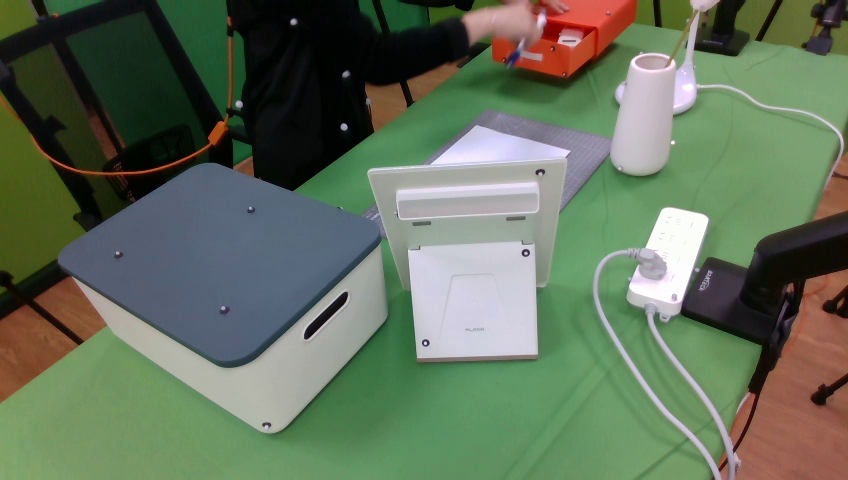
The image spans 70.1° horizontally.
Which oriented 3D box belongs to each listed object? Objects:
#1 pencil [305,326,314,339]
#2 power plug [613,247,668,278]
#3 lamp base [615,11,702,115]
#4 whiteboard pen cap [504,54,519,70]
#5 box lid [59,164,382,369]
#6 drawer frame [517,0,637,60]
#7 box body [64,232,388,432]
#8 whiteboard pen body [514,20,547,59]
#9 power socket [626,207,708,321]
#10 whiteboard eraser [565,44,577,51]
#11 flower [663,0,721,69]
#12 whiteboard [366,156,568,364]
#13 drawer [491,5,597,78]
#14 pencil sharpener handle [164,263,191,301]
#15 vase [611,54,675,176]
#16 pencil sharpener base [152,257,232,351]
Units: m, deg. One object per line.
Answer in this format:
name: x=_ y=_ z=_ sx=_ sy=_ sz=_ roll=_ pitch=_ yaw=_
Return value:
pencil: x=-0.187 y=0.106 z=0.880 sx=0.012 sy=0.012 sz=0.192 roll=-27 pitch=41 yaw=-22
power plug: x=0.306 y=0.031 z=0.851 sx=0.072 sy=0.053 sz=0.035 roll=24 pitch=49 yaw=34
lamp base: x=0.484 y=-0.364 z=1.211 sx=0.180 sy=0.181 sz=0.159 roll=-15 pitch=41 yaw=-14
whiteboard pen cap: x=0.169 y=-0.342 z=1.162 sx=0.018 sy=0.018 sz=0.033 roll=24 pitch=63 yaw=31
box lid: x=-0.263 y=0.010 z=0.777 sx=0.368 sy=0.015 sz=0.264 roll=20 pitch=47 yaw=29
drawer frame: x=0.357 y=-0.516 z=1.415 sx=0.200 sy=0.083 sz=0.214 roll=22 pitch=50 yaw=31
box body: x=-0.256 y=0.065 z=0.827 sx=0.361 sy=0.161 sz=0.255 roll=20 pitch=48 yaw=29
whiteboard pen body: x=0.202 y=-0.385 z=1.184 sx=0.017 sy=0.017 sz=0.141 roll=24 pitch=63 yaw=31
power socket: x=0.359 y=0.025 z=0.886 sx=0.072 sy=0.033 sz=0.227 roll=16 pitch=46 yaw=26
whiteboard eraser: x=0.332 y=-0.414 z=1.357 sx=0.055 sy=0.042 sz=0.113 roll=1 pitch=11 yaw=23
flower: x=0.379 y=-0.261 z=0.965 sx=0.044 sy=0.362 sz=0.038 roll=20 pitch=52 yaw=5
whiteboard: x=0.059 y=0.050 z=0.738 sx=0.217 sy=0.307 sz=0.143 roll=-2 pitch=60 yaw=6
drawer: x=0.288 y=-0.453 z=1.354 sx=0.193 sy=0.073 sz=0.212 roll=24 pitch=49 yaw=32
pencil sharpener handle: x=-0.354 y=0.055 z=0.866 sx=0.036 sy=0.068 sz=0.030 roll=-17 pitch=39 yaw=-29
vase: x=0.377 y=-0.209 z=1.031 sx=0.098 sy=0.201 sz=0.097 roll=-4 pitch=40 yaw=3
pencil sharpener base: x=-0.322 y=0.088 z=0.841 sx=0.061 sy=0.107 sz=0.076 roll=-28 pitch=44 yaw=-20
